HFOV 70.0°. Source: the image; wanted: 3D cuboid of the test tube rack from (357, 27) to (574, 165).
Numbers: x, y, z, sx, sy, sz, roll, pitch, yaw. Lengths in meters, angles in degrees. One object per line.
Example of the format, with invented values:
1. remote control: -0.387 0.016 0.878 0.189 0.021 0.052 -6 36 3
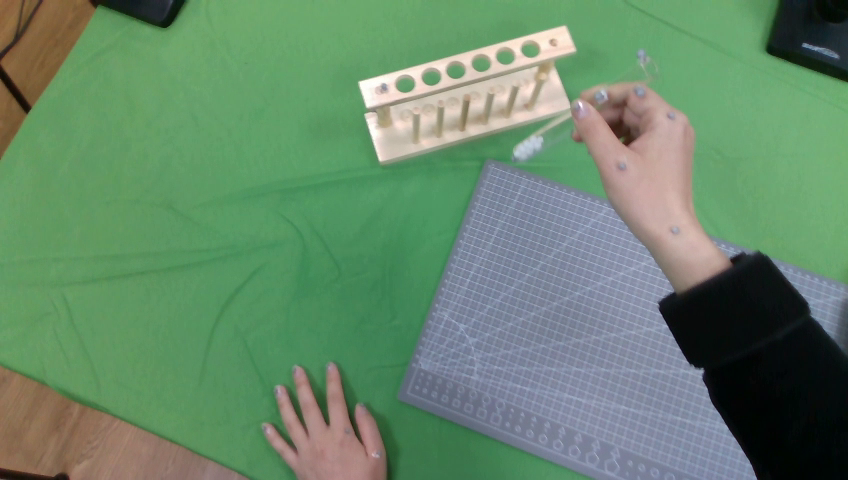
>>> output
1. test tube rack: 0.052 -0.164 0.702 0.242 0.085 0.066 -16 75 -5

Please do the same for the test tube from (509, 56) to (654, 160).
1. test tube: 0.113 -0.095 0.463 0.017 0.150 0.017 10 69 -27
